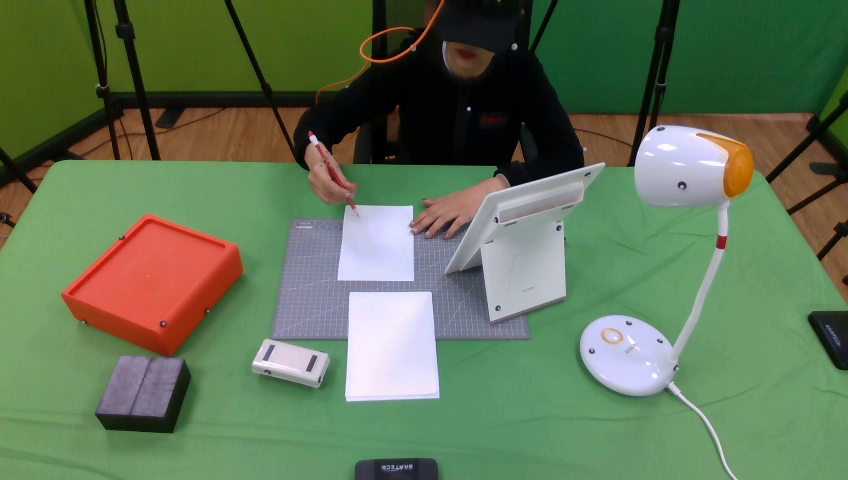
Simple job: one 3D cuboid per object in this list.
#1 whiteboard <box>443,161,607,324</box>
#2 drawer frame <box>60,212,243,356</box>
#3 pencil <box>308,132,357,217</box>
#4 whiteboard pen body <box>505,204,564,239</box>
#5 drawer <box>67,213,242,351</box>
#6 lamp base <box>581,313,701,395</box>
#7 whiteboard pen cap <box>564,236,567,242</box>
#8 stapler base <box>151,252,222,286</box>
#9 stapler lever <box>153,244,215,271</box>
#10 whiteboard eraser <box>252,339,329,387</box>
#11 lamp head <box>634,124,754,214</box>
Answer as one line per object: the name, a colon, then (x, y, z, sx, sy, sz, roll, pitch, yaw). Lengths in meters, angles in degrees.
whiteboard: (0.185, 0.026, 1.028, 0.217, 0.306, 0.143, -15, 68, -18)
drawer frame: (-0.462, 0.070, 1.053, 0.201, 0.083, 0.213, 18, 48, 12)
pencil: (-0.171, -0.124, 1.135, 0.012, 0.012, 0.193, -24, 75, -25)
whiteboard pen body: (0.227, -0.036, 1.250, 0.140, 0.017, 0.017, 32, 52, 23)
drawer: (-0.461, 0.068, 1.057, 0.194, 0.073, 0.211, 19, 48, 13)
lamp base: (0.361, 0.144, 0.973, 0.178, 0.181, 0.160, 34, 53, 23)
whiteboard pen cap: (0.271, -0.008, 1.225, 0.033, 0.018, 0.018, 34, 53, 23)
stapler base: (-0.432, 0.047, 1.103, 0.130, 0.024, 0.041, 16, 33, 12)
stapler lever: (-0.430, 0.025, 1.088, 0.118, 0.040, 0.027, 16, 33, 12)
whiteboard eraser: (-0.215, 0.199, 0.976, 0.112, 0.042, 0.055, 12, 45, 7)
lamp head: (0.351, -0.089, 0.776, 0.112, 0.113, 0.122, -30, 30, -28)
